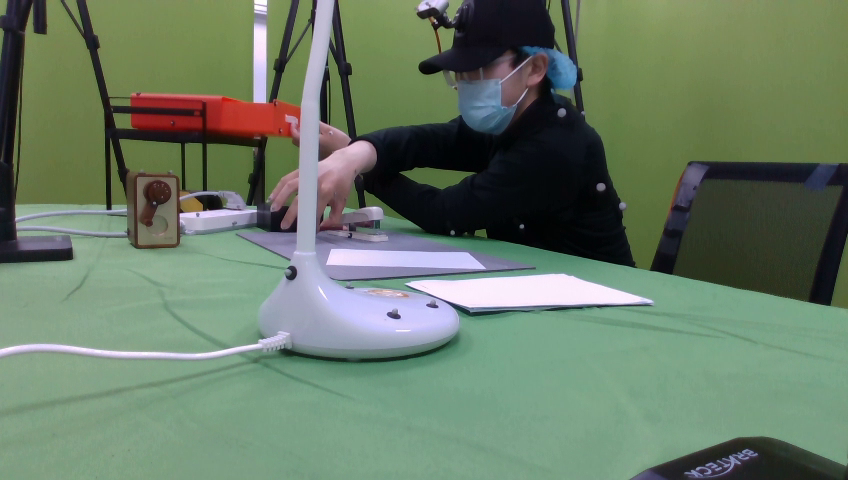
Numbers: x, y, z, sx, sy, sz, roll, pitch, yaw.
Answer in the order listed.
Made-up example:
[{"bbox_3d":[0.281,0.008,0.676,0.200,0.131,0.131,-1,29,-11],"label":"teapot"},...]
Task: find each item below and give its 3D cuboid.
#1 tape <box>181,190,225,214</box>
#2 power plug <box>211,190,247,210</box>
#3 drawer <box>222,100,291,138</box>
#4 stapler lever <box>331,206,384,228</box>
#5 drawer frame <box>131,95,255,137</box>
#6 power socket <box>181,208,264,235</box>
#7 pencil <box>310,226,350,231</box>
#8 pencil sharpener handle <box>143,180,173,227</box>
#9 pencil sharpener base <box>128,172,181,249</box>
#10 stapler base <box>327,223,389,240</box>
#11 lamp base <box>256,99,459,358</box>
[{"bbox_3d":[-0.516,-0.086,1.388,0.117,0.052,0.117,4,7,0],"label":"tape"},{"bbox_3d":[-0.386,-0.072,1.204,0.072,0.052,0.035,8,9,26],"label":"power plug"},{"bbox_3d":[-0.391,-0.271,1.360,0.211,0.073,0.195,3,8,10],"label":"drawer"},{"bbox_3d":[-0.118,-0.043,1.070,0.117,0.040,0.027,7,8,41],"label":"stapler lever"},{"bbox_3d":[-0.507,-0.280,1.376,0.213,0.082,0.202,3,8,8],"label":"drawer frame"},{"bbox_3d":[-0.381,-0.038,1.129,0.072,0.032,0.227,4,8,17],"label":"power socket"},{"bbox_3d":[-0.173,-0.020,1.037,0.012,0.012,0.193,-3,3,-35],"label":"pencil"},{"bbox_3d":[-0.371,-0.050,0.840,0.036,0.067,0.030,24,-6,-34],"label":"pencil sharpener handle"},{"bbox_3d":[-0.395,-0.044,0.887,0.062,0.107,0.076,-2,9,-34],"label":"pencil sharpener base"},{"bbox_3d":[-0.117,-0.018,1.073,0.130,0.024,0.041,7,8,41],"label":"stapler base"},{"bbox_3d":[-0.055,-0.013,0.463,0.160,0.180,0.180,6,11,27],"label":"lamp base"}]
